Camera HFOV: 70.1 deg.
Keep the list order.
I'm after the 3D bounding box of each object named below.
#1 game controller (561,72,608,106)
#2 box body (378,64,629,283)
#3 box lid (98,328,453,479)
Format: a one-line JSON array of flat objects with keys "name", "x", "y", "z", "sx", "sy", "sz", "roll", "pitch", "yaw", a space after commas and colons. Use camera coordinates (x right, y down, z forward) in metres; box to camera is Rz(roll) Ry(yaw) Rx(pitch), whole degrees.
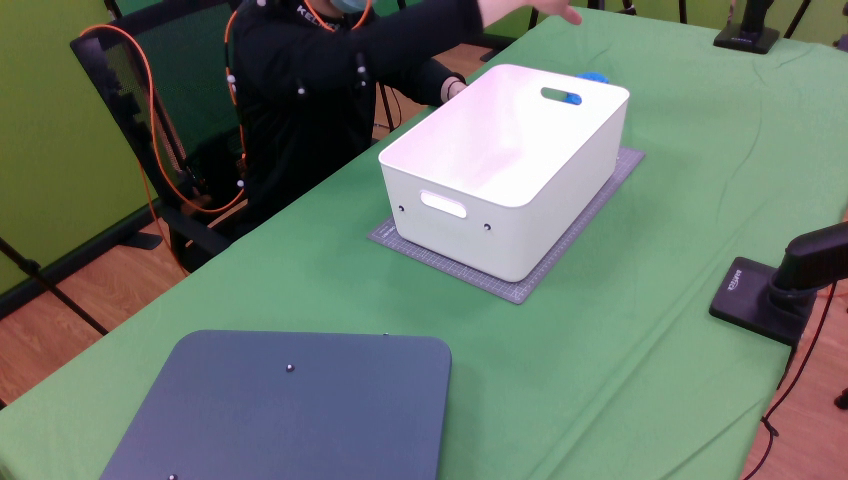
[{"name": "game controller", "x": 0.326, "y": -0.306, "z": 1.260, "sx": 0.096, "sy": 0.052, "sz": 0.155, "roll": 14, "pitch": 45, "yaw": 17}, {"name": "box body", "x": 0.137, "y": -0.121, "z": 0.978, "sx": 0.252, "sy": 0.161, "sz": 0.365, "roll": 22, "pitch": 48, "yaw": 30}, {"name": "box lid", "x": -0.157, "y": 0.209, "z": 0.690, "sx": 0.371, "sy": 0.015, "sz": 0.262, "roll": 1, "pitch": 41, "yaw": 9}]
